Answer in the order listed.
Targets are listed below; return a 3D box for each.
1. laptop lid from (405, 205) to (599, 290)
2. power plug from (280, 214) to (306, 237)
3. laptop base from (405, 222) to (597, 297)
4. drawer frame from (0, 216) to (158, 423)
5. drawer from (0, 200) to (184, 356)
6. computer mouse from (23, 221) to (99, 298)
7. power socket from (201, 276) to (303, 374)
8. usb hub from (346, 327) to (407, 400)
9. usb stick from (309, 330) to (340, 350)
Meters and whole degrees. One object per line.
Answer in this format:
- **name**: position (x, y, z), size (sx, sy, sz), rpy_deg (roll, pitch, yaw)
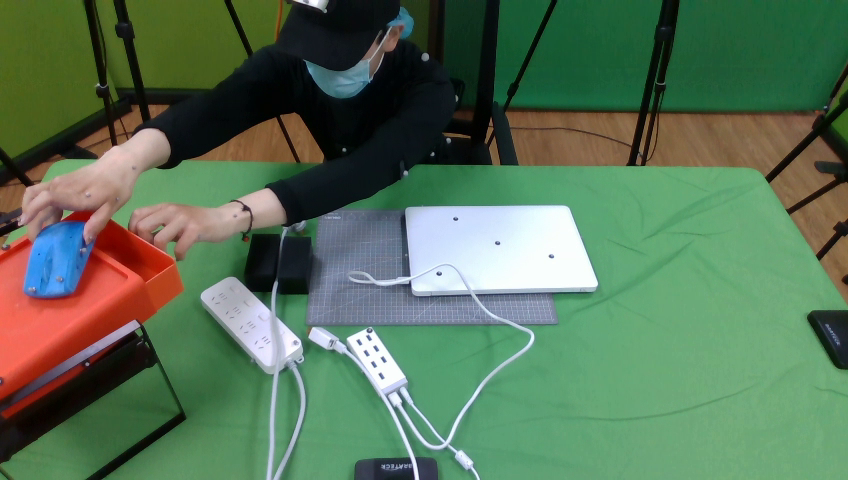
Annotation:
- **laptop lid**: position (0.143, 0.008, 1.189), size (0.357, 0.013, 0.240), rpy_deg (0, 44, -5)
- **power plug**: position (-0.259, -0.020, 1.184), size (0.035, 0.053, 0.072), rpy_deg (13, 54, 32)
- **laptop base**: position (0.143, 0.018, 1.196), size (0.355, 0.023, 0.234), rpy_deg (-1, 43, -6)
- **drawer frame**: position (-0.500, 0.092, 0.782), size (0.201, 0.083, 0.213), rpy_deg (26, 50, 20)
- **drawer**: position (-0.472, 0.063, 0.811), size (0.194, 0.073, 0.211), rpy_deg (29, 50, 20)
- **computer mouse**: position (-0.471, 0.021, 0.784), size (0.063, 0.041, 0.116), rpy_deg (-1, 54, 0)
- **power socket**: position (-0.296, 0.141, 1.034), size (0.225, 0.033, 0.072), rpy_deg (38, 55, 27)
- **usb hub**: position (-0.078, 0.202, 0.998), size (0.049, 0.025, 0.124), rpy_deg (-23, 53, -24)
- **usb stick**: position (-0.173, 0.167, 1.021), size (0.059, 0.021, 0.027), rpy_deg (11, 3, 25)
